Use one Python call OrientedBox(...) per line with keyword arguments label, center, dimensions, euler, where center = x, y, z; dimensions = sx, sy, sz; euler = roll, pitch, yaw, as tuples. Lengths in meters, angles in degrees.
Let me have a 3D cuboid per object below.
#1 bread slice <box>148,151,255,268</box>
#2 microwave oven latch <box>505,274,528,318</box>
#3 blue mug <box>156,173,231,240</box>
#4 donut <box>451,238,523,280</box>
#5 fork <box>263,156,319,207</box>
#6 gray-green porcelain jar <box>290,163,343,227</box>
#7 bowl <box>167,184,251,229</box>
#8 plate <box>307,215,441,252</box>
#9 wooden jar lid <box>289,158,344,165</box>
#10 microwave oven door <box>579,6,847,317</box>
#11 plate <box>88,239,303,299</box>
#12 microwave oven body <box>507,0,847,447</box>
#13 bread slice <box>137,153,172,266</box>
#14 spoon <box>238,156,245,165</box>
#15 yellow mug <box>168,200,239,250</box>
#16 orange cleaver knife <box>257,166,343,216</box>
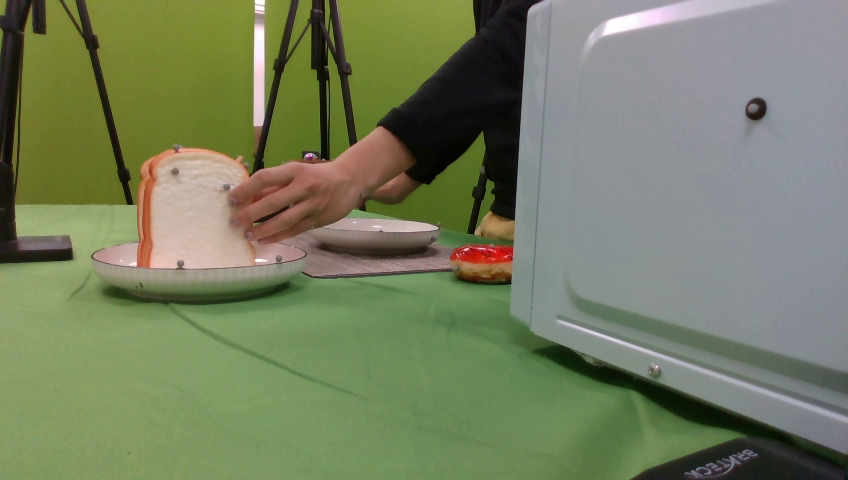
OrientedBox(label="bread slice", center=(-0.229, -0.023, 0.618), dimensions=(0.107, 0.134, 0.018), euler=(-7, 9, -35))
OrientedBox(label="microwave oven latch", center=(0.100, 0.041, 0.473), dimensions=(0.079, 0.029, 0.030), euler=(-2, 8, -31))
OrientedBox(label="blue mug", center=(-0.381, -0.057, 1.004), dimensions=(0.117, 0.106, 0.082), euler=(0, 8, -12))
OrientedBox(label="donut", center=(0.082, 0.022, 0.745), dimensions=(0.099, 0.048, 0.099), euler=(1, 6, 0))
OrientedBox(label="fork", center=(-0.331, -0.144, 1.505), dimensions=(0.207, 0.018, 0.028), euler=(-42, -20, 22))
OrientedBox(label="gray-green porcelain jar", center=(-0.217, -0.091, 1.221), dimensions=(0.106, 0.126, 0.106), euler=(2, 7, 0))
OrientedBox(label="bowl", center=(-0.408, -0.064, 1.154), dimensions=(0.151, 0.077, 0.151), euler=(2, 8, 0))
OrientedBox(label="plate", center=(-0.078, -0.011, 0.954), dimensions=(0.209, 0.038, 0.209), euler=(2, 8, 0))
OrientedBox(label="wooden jar lid", center=(-0.215, -0.153, 1.212), dimensions=(0.108, 0.020, 0.108), euler=(2, 5, 0))
OrientedBox(label="microwave oven door", center=(0.294, -0.067, 0.570), dimensions=(0.358, 0.243, 0.039), euler=(-3, 9, -31))
OrientedBox(label="plate", center=(-0.233, 0.029, 0.636), dimensions=(0.208, 0.039, 0.207), euler=(2, 7, 0))
OrientedBox(label="microwave oven body", center=(0.331, -0.042, 0.425), dimensions=(0.444, 0.260, 0.324), euler=(-2, 8, -31))
OrientedBox(label="bread slice", center=(-0.257, -0.029, 0.659), dimensions=(0.105, 0.131, 0.019), euler=(-1, 1, -35))
OrientedBox(label="spoon", center=(-0.477, -0.145, 1.492), dimensions=(0.041, 0.022, 0.193), euler=(0, 51, 12))
OrientedBox(label="yellow mug", center=(-0.319, -0.023, 0.904), dimensions=(0.130, 0.064, 0.100), euler=(9, 11, 36))
OrientedBox(label="orange cleaver knife", center=(-0.276, -0.090, 1.369), dimensions=(0.212, 0.077, 0.012), euler=(33, -11, -34))
